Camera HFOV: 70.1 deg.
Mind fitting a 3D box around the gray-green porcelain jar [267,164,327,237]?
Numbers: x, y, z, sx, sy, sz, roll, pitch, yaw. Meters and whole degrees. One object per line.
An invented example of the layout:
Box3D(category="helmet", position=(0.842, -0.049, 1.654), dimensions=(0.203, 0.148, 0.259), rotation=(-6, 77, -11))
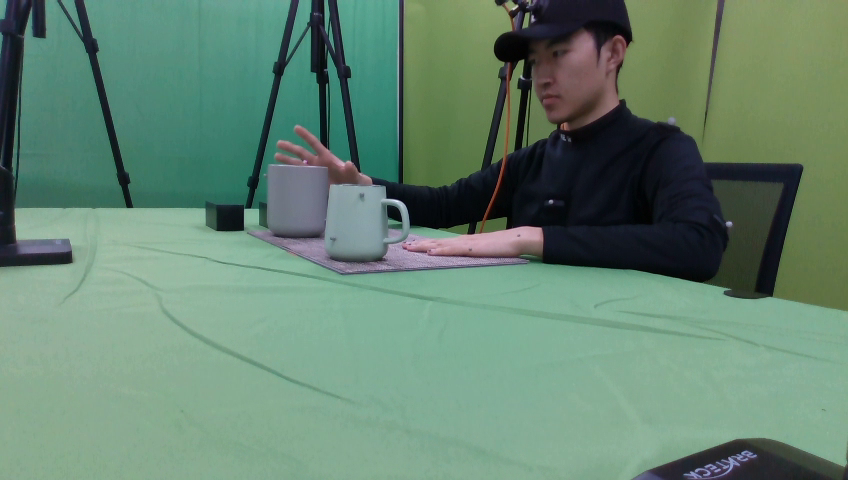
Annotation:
Box3D(category="gray-green porcelain jar", position=(-0.227, -0.072, 1.086), dimensions=(0.106, 0.126, 0.106), rotation=(2, 7, 0))

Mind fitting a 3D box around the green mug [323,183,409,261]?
Box3D(category="green mug", position=(-0.080, -0.026, 0.851), dimensions=(0.125, 0.105, 0.093), rotation=(5, 7, 20))
